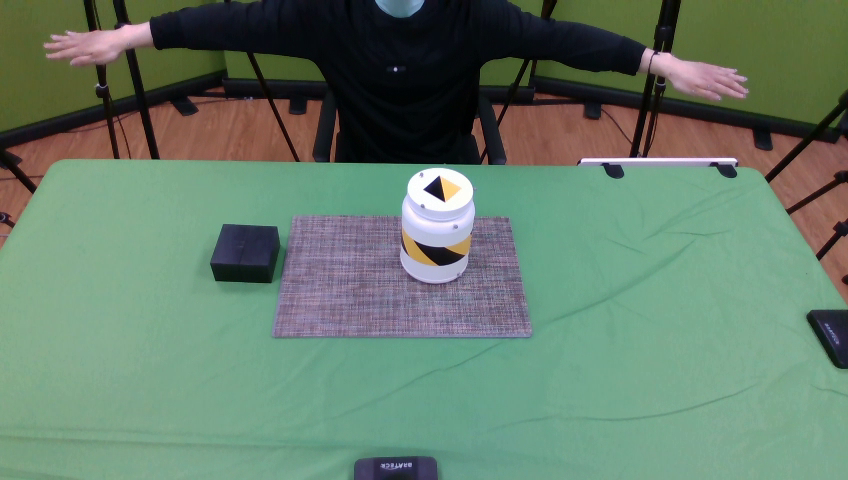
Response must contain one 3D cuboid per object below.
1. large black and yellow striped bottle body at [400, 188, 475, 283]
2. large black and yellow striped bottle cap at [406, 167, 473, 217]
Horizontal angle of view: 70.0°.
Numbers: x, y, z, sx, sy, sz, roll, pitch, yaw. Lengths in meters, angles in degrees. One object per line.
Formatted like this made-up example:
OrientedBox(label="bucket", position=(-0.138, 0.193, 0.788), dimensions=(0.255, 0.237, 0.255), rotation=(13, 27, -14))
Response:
OrientedBox(label="large black and yellow striped bottle body", position=(0.024, -0.024, 1.102), dimensions=(0.131, 0.185, 0.130), rotation=(2, 46, -2))
OrientedBox(label="large black and yellow striped bottle cap", position=(0.027, -0.084, 1.043), dimensions=(0.115, 0.019, 0.114), rotation=(3, 46, -3))
